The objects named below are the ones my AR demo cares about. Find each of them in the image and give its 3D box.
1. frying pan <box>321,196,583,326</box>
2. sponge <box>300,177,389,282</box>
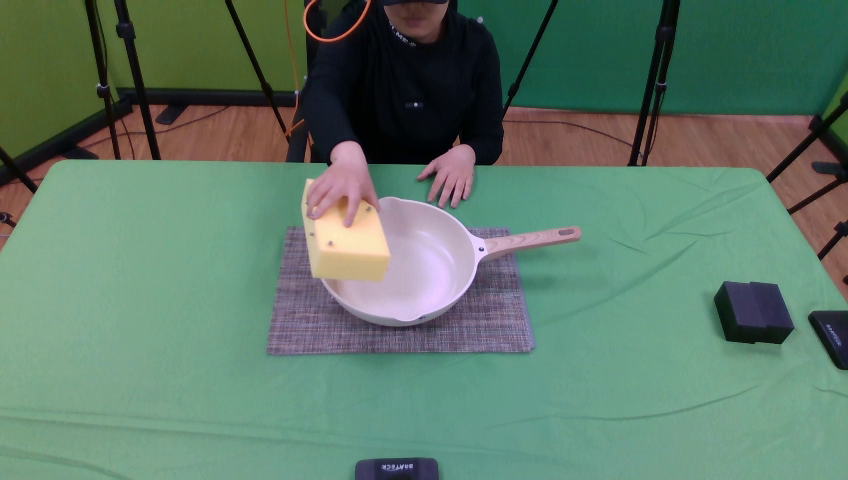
[{"bbox_3d":[0.054,0.027,1.114,0.488,0.103,0.304,-9,48,-1],"label":"frying pan"},{"bbox_3d":[-0.142,-0.021,1.043,0.118,0.061,0.205,4,38,-22],"label":"sponge"}]
